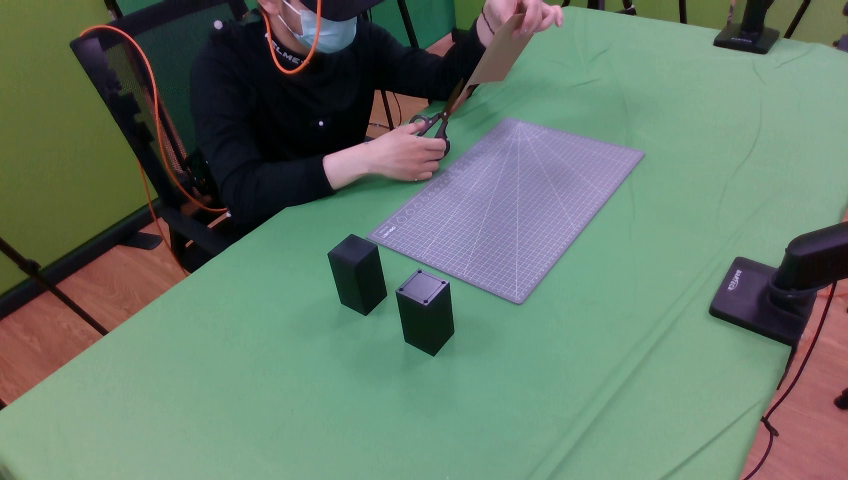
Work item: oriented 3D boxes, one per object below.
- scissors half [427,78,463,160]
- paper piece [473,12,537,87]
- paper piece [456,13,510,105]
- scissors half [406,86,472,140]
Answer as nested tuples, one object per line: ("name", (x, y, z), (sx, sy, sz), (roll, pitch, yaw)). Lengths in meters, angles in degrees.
("scissors half", (0.042, -0.215, 1.087), (0.040, 0.175, 0.013), (32, 43, 15))
("paper piece", (0.145, -0.334, 1.059), (0.008, 0.136, 0.138), (38, 34, 10))
("paper piece", (0.091, -0.284, 0.945), (0.004, 0.135, 0.135), (30, 34, 0))
("scissors half", (0.025, -0.231, 1.088), (0.174, 0.040, 0.013), (-26, 16, 43))
